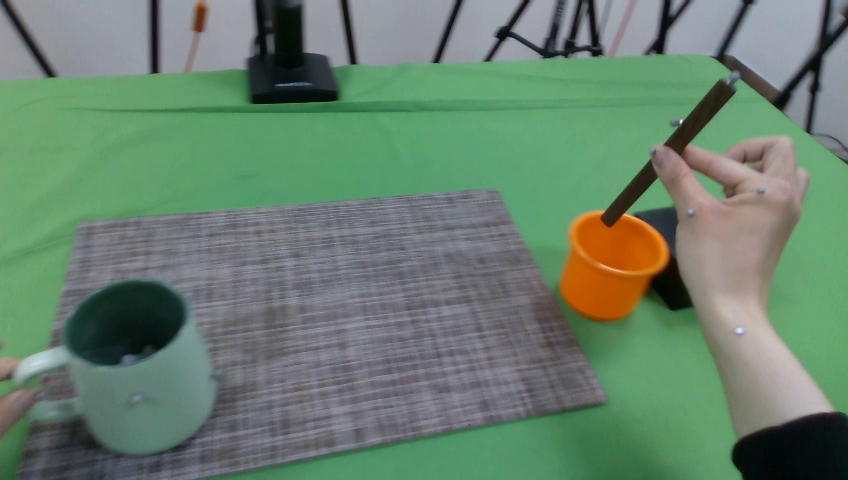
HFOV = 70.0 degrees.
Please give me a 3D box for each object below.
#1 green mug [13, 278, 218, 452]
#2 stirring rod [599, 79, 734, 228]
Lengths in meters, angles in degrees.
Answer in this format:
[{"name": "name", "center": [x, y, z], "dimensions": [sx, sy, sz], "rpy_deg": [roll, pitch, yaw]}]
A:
[{"name": "green mug", "center": [-0.217, 0.095, 0.430], "dimensions": [0.126, 0.106, 0.091], "rpy_deg": [-14, 47, -22]}, {"name": "stirring rod", "center": [0.177, -0.058, 0.464], "dimensions": [0.006, 0.177, 0.014], "rpy_deg": [-31, 72, -26]}]
